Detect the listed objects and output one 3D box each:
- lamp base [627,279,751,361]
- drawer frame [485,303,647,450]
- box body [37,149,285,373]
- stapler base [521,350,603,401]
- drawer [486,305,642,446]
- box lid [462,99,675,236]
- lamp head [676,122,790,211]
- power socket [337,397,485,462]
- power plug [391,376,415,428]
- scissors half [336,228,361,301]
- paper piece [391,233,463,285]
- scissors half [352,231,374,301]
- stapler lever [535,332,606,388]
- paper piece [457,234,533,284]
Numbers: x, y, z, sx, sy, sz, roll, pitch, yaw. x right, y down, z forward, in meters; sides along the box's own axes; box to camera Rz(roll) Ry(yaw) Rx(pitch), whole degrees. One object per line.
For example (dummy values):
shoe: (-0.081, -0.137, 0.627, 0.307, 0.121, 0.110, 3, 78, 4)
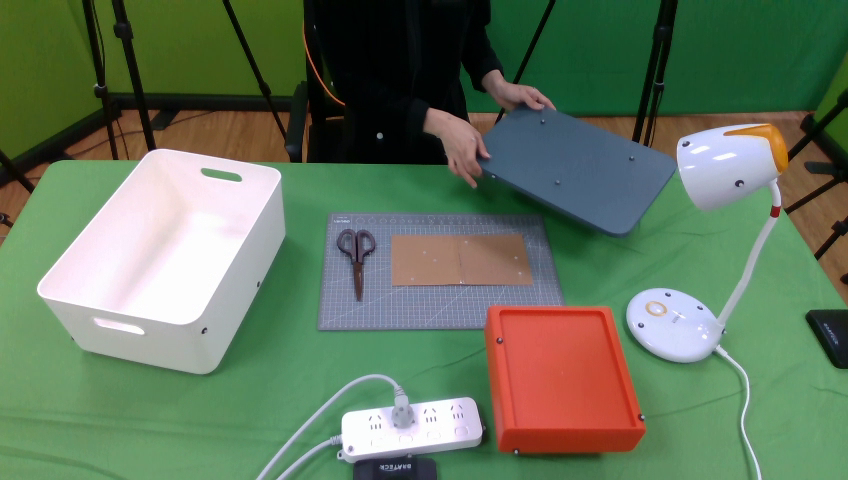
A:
lamp base: (0.460, 0.100, 1.027, 0.178, 0.181, 0.160, 27, 51, 17)
drawer frame: (0.204, 0.202, 0.917, 0.202, 0.083, 0.212, 1, 47, -4)
box body: (-0.414, 0.029, 1.040, 0.254, 0.161, 0.362, 10, 46, 5)
stapler base: (0.217, 0.203, 0.942, 0.130, 0.024, 0.041, 26, 33, 16)
drawer: (0.202, 0.200, 0.919, 0.195, 0.073, 0.210, 2, 47, -4)
box lid: (0.288, -0.161, 1.222, 0.370, 0.015, 0.263, 30, 55, 23)
lamp head: (0.423, -0.104, 0.819, 0.122, 0.113, 0.112, -13, 33, 40)
power socket: (-0.018, 0.285, 0.915, 0.227, 0.033, 0.071, -4, 46, -8)
power plug: (-0.031, 0.249, 0.917, 0.035, 0.053, 0.072, 3, 46, -1)
scissors half: (-0.139, 0.044, 1.145, 0.040, 0.013, 0.174, 1, 48, -24)
paper piece: (0.004, 0.035, 1.170, 0.135, 0.004, 0.135, 1, 46, -4)
scissors half: (-0.120, 0.048, 1.152, 0.040, 0.013, 0.174, 19, 43, -15)
stapler lever: (0.225, 0.181, 0.929, 0.118, 0.040, 0.027, 27, 34, 15)
paper piece: (0.136, 0.035, 1.182, 0.136, 0.009, 0.137, 3, 44, -7)
